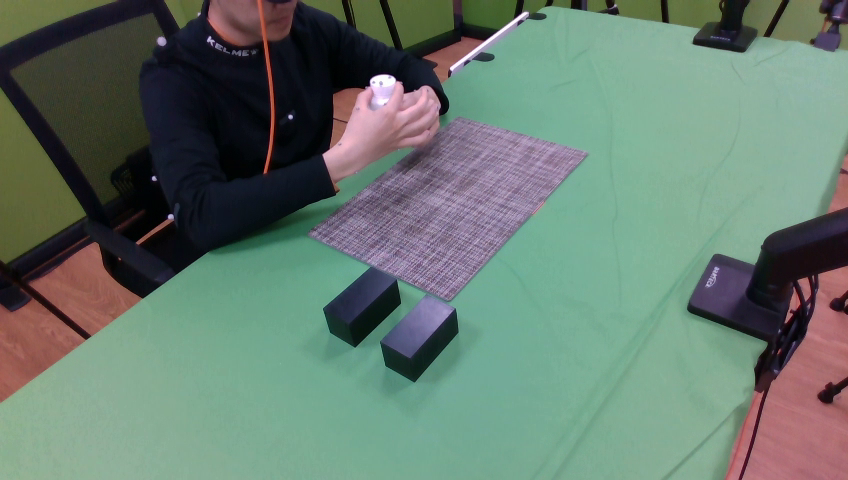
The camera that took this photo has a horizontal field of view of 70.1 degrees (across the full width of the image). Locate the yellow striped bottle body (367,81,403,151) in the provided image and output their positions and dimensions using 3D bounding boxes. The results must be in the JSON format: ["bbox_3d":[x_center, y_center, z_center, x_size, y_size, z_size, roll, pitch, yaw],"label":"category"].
[{"bbox_3d":[-0.068,-0.225,1.073,0.063,0.120,0.062,1,42,-1],"label":"yellow striped bottle body"}]

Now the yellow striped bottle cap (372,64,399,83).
[{"bbox_3d":[-0.065,-0.281,1.020,0.044,0.019,0.044,4,37,-2],"label":"yellow striped bottle cap"}]
